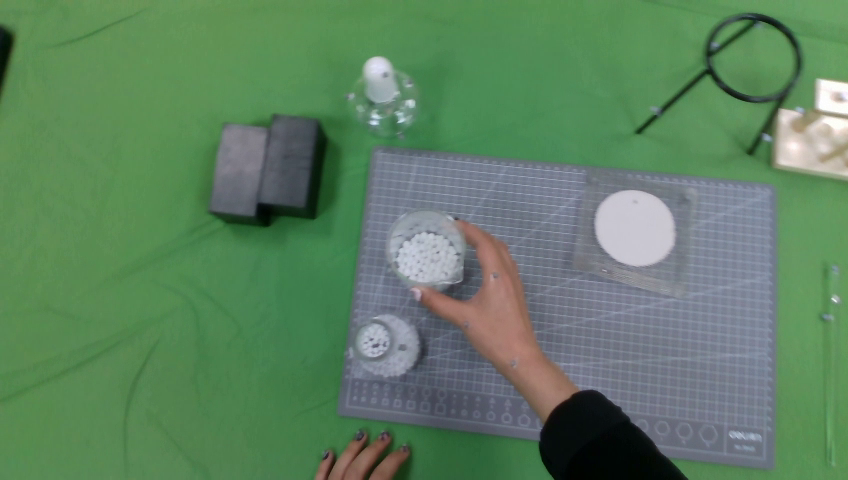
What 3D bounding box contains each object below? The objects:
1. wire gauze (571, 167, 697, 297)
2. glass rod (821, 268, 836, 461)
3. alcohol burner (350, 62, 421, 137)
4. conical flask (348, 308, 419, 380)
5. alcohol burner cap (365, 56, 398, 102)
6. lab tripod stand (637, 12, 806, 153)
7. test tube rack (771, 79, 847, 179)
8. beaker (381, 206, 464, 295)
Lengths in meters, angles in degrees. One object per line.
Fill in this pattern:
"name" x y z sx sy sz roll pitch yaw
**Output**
"wire gauze" 0.229 -0.011 0.660 0.125 0.011 0.121 14 80 1
"glass rod" 0.422 0.128 0.632 0.008 0.008 0.199 7 82 3
"alcohol burner" -0.043 -0.156 0.643 0.078 0.119 0.077 -1 80 3
"conical flask" -0.044 0.099 0.587 0.075 0.122 0.075 0 79 1
"alcohol burner cap" -0.044 -0.165 0.608 0.034 0.048 0.033 0 73 0
"lab tripod stand" 0.308 -0.156 0.625 0.148 0.132 0.148 0 81 2
"test tube rack" 0.509 -0.101 0.633 0.242 0.085 0.066 10 79 4
"beaker" 0.003 0.017 0.603 0.083 0.100 0.074 44 82 8
